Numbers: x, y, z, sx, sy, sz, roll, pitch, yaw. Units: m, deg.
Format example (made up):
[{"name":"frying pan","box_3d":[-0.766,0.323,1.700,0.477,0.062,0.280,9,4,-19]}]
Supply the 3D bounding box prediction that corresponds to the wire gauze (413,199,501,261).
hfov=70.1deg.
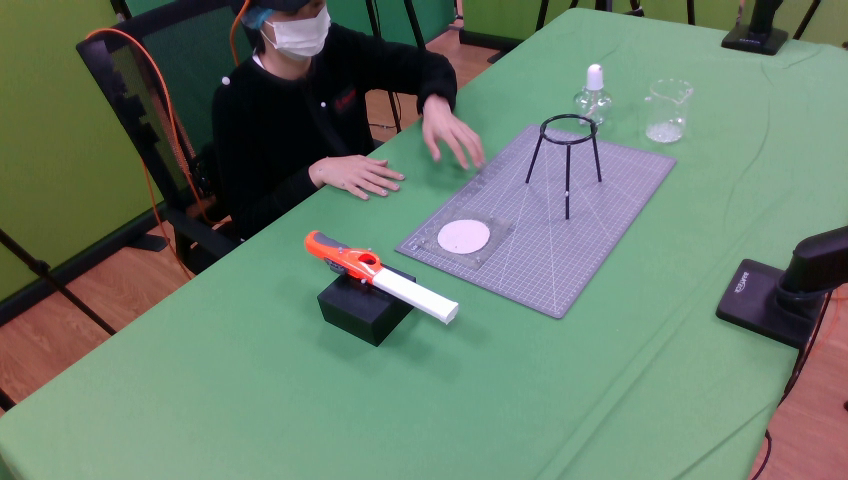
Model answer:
[{"name":"wire gauze","box_3d":[0.054,-0.016,0.970,0.121,0.011,0.125,7,48,14]}]

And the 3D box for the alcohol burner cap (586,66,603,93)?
[{"name":"alcohol burner cap","box_3d":[0.330,-0.312,1.170,0.034,0.048,0.033,-8,38,7]}]

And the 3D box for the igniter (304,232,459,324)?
[{"name":"igniter","box_3d":[-0.070,0.048,0.853,0.274,0.025,0.057,24,48,29]}]

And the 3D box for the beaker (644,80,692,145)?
[{"name":"beaker","box_3d":[0.451,-0.233,1.122,0.074,0.101,0.083,-8,40,1]}]

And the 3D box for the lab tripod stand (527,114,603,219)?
[{"name":"lab tripod stand","box_3d":[0.234,-0.129,1.002,0.148,0.132,0.147,-6,40,6]}]

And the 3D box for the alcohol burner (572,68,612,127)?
[{"name":"alcohol burner","box_3d":[0.333,-0.285,1.192,0.078,0.119,0.077,-4,42,4]}]
